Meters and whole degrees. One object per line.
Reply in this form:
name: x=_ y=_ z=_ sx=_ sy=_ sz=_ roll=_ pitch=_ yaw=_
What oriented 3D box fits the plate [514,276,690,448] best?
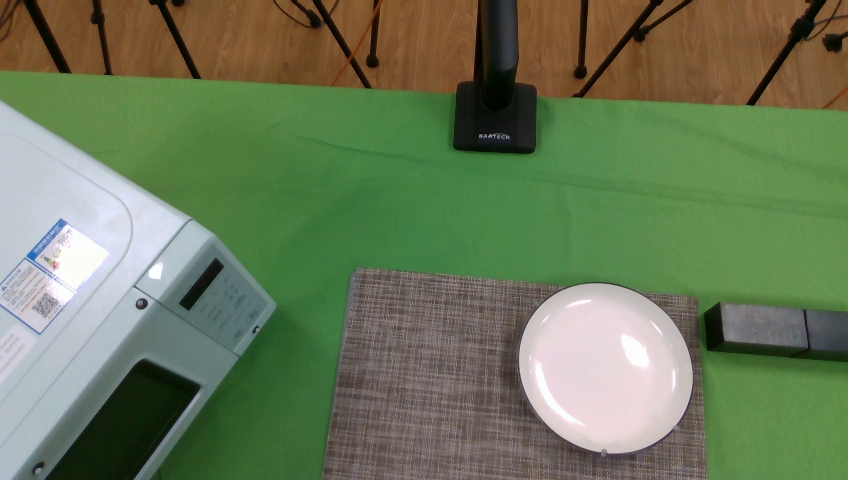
plate: x=0.213 y=0.148 z=0.741 sx=0.208 sy=0.039 sz=0.206 roll=0 pitch=68 yaw=1

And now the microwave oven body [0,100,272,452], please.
microwave oven body: x=-0.439 y=0.129 z=0.646 sx=0.325 sy=0.262 sz=0.440 roll=29 pitch=73 yaw=12

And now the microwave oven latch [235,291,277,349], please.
microwave oven latch: x=-0.217 y=0.095 z=0.758 sx=0.030 sy=0.030 sz=0.079 roll=31 pitch=73 yaw=13

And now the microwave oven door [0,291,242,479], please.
microwave oven door: x=-0.337 y=0.230 z=0.598 sx=0.039 sy=0.245 sz=0.354 roll=29 pitch=72 yaw=13
